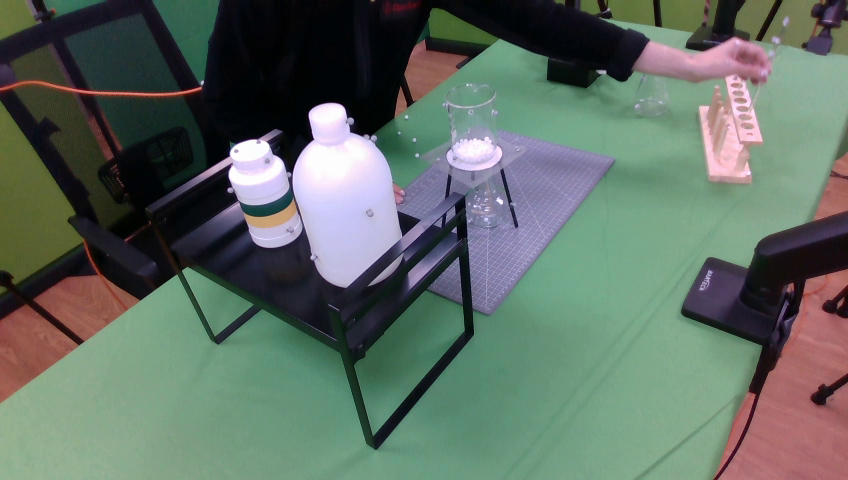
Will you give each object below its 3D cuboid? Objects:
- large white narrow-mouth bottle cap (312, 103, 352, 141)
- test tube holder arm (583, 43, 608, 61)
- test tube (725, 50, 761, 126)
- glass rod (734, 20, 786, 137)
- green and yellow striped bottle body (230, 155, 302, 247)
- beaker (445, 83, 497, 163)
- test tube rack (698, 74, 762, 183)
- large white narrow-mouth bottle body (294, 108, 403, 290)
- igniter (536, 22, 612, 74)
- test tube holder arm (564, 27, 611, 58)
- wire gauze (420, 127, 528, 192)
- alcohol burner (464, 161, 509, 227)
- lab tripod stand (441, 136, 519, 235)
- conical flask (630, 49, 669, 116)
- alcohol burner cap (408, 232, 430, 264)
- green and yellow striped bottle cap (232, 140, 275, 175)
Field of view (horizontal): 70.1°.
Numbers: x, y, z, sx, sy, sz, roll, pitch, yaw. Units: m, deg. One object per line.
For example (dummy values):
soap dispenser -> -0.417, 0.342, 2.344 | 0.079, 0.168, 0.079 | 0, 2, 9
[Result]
large white narrow-mouth bottle cap -> -0.088, -0.114, 0.580 | 0.038, 0.024, 0.037 | -4, 39, 3
test tube holder arm -> 0.379, -0.420, 1.341 | 0.010, 0.015, 0.087 | -40, 41, 10
test tube -> 0.570, -0.269, 1.085 | 0.017, 0.151, 0.017 | -1, 45, 1
glass rod -> 0.546, -0.258, 0.987 | 0.008, 0.200, 0.008 | 3, 38, -2
green and yellow striped bottle body -> -0.188, -0.055, 0.714 | 0.063, 0.120, 0.063 | -4, 41, 4
beaker -> 0.073, -0.174, 0.904 | 0.074, 0.101, 0.084 | 3, 42, 13
test tube rack -> 0.547, -0.208, 1.094 | 0.066, 0.085, 0.242 | 5, 42, 15
large white narrow-mouth bottle body -> -0.081, -0.047, 0.634 | 0.102, 0.195, 0.101 | -4, 39, 4
igniter -> 0.330, -0.438, 1.366 | 0.057, 0.025, 0.274 | -11, 41, -19
test tube holder arm -> 0.369, -0.450, 1.373 | 0.013, 0.015, 0.177 | -40, 41, 10
wire gauze -> 0.076, -0.131, 0.927 | 0.122, 0.011, 0.124 | -34, 49, -25
alcohol burner -> 0.102, -0.080, 0.982 | 0.078, 0.119, 0.077 | -4, 43, 4
lab tripod stand -> 0.083, -0.086, 0.976 | 0.148, 0.132, 0.147 | -4, 43, 4
conical flask -> 0.457, -0.316, 1.205 | 0.075, 0.122, 0.075 | -4, 41, 4
alcohol burner cap -> -0.010, 0.010, 0.947 | 0.034, 0.048, 0.033 | -4, 41, 4
green and yellow striped bottle cap -> -0.192, -0.093, 0.680 | 0.045, 0.020, 0.045 | -5, 39, 5
